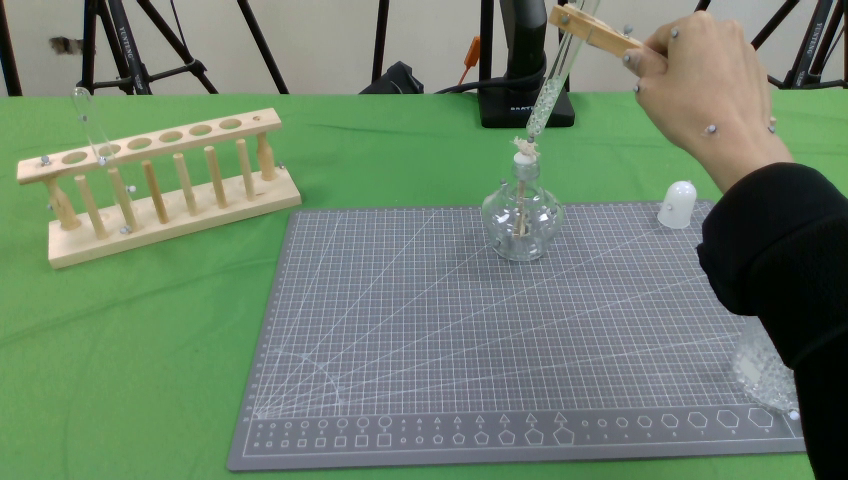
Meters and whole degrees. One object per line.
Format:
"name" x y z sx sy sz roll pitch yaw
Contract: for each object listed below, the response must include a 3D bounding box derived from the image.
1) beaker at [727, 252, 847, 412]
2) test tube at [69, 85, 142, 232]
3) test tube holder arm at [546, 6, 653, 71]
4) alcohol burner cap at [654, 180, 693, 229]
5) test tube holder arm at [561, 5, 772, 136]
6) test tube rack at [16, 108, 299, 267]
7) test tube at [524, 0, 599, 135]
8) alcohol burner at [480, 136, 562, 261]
"beaker" 0.268 0.068 0.440 0.074 0.101 0.083 -21 43 -22
"test tube" -0.290 -0.070 0.557 0.017 0.152 0.017 -1 38 1
"test tube holder arm" 0.128 -0.148 0.444 0.087 0.015 0.010 37 41 24
"alcohol burner cap" 0.254 -0.038 0.612 0.034 0.048 0.033 0 40 1
"test tube holder arm" 0.162 -0.124 0.427 0.013 0.015 0.176 -20 51 -38
"test tube rack" -0.258 -0.057 0.610 0.243 0.086 0.066 -17 43 -19
"test tube" 0.110 -0.147 0.471 0.017 0.151 0.017 12 39 -9
"alcohol burner" 0.090 -0.040 0.560 0.078 0.120 0.077 -1 38 1
